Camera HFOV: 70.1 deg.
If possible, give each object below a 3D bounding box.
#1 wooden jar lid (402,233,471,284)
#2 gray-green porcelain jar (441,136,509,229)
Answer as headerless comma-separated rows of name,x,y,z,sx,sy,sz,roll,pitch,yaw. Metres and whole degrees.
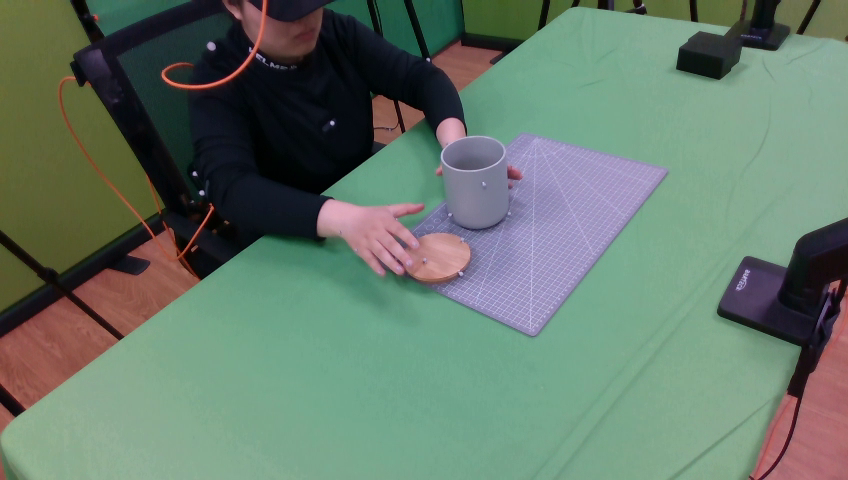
wooden jar lid,0.020,0.030,0.941,0.108,0.021,0.108,-4,40,4
gray-green porcelain jar,0.086,-0.090,0.988,0.106,0.127,0.105,-5,40,5
